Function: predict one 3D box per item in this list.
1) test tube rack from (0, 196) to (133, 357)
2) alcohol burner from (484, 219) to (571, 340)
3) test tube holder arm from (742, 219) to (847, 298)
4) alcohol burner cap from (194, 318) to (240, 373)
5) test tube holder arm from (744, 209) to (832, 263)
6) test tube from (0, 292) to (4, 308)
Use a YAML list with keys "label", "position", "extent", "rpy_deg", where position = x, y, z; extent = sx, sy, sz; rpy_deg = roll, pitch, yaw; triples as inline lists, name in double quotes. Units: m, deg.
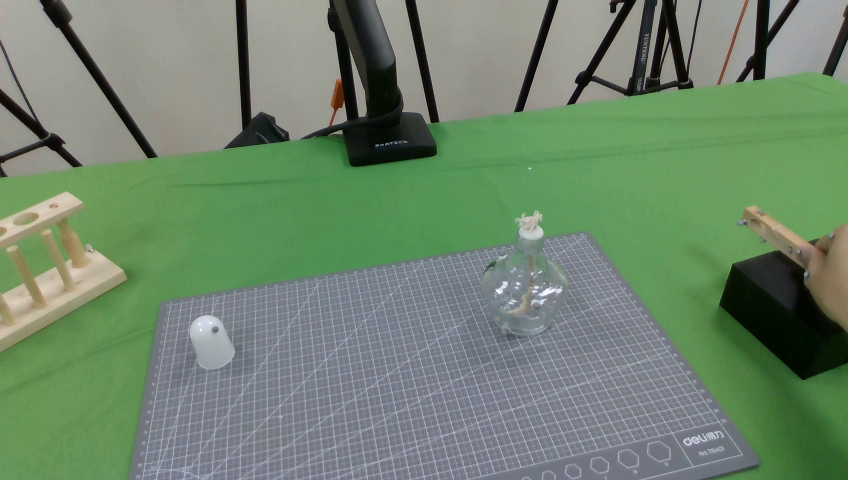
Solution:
- label: "test tube rack"
  position: [-0.407, 0.057, 0.550]
  extent: [0.066, 0.086, 0.242]
  rpy_deg: [24, 44, 32]
- label: "alcohol burner"
  position: [0.092, 0.029, 0.529]
  extent: [0.078, 0.120, 0.077]
  rpy_deg: [-1, 39, 1]
- label: "test tube holder arm"
  position: [0.345, 0.027, 0.521]
  extent: [0.015, 0.013, 0.176]
  rpy_deg: [-13, 38, -15]
- label: "alcohol burner cap"
  position: [-0.182, 0.088, 0.527]
  extent: [0.034, 0.048, 0.033]
  rpy_deg: [-1, 37, 1]
- label: "test tube holder arm"
  position: [0.330, -0.002, 0.552]
  extent: [0.015, 0.010, 0.087]
  rpy_deg: [-13, 38, -15]
- label: "test tube"
  position: [-0.412, 0.002, 0.541]
  extent: [0.017, 0.151, 0.017]
  rpy_deg: [-1, 33, 1]
